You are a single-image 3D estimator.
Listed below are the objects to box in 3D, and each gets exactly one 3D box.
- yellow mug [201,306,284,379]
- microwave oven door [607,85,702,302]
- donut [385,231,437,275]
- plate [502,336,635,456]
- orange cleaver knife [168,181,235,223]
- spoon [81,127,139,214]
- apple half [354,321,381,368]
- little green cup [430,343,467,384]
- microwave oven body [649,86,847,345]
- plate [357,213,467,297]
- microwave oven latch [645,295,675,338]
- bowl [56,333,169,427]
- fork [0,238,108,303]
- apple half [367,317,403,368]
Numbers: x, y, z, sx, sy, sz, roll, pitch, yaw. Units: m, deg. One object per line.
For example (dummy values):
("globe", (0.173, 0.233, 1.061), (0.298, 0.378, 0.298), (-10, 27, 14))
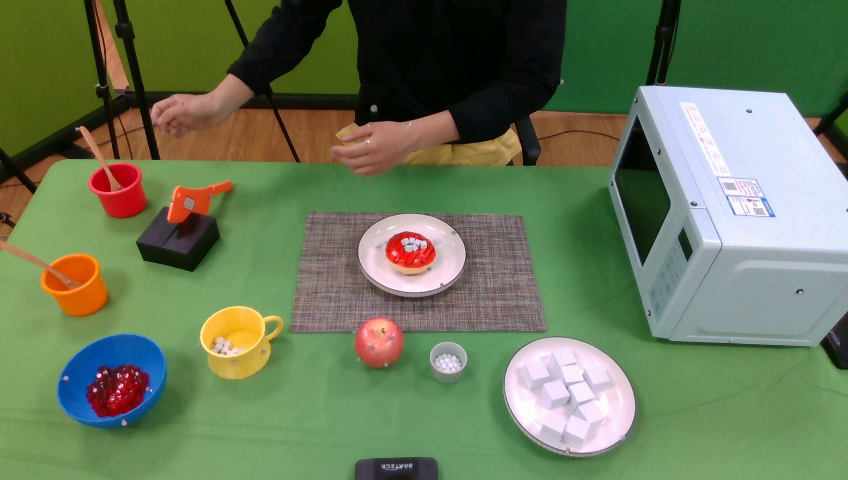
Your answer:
("yellow mug", (-0.291, 0.160, 0.993), (0.131, 0.064, 0.099), (-23, 51, -25))
("microwave oven door", (0.423, -0.094, 1.140), (0.039, 0.245, 0.353), (2, 46, -1))
("donut", (-0.024, 0.024, 1.142), (0.099, 0.048, 0.098), (3, 44, -3))
("plate", (0.225, 0.248, 0.963), (0.208, 0.039, 0.206), (2, 46, -2))
("orange cleaver knife", (-0.436, -0.078, 1.196), (0.012, 0.077, 0.211), (15, 15, 10))
("spoon", (-0.625, -0.139, 1.202), (0.041, 0.021, 0.194), (-30, 98, -28))
("apple half", (-0.097, 0.176, 0.985), (0.033, 0.081, 0.080), (-12, 48, -20))
("little green cup", (0.039, 0.203, 0.994), (0.061, 0.039, 0.061), (2, 46, -2))
("microwave oven body", (0.568, -0.053, 1.118), (0.326, 0.261, 0.439), (2, 45, -1))
("plate", (-0.023, 0.032, 1.150), (0.209, 0.038, 0.208), (2, 46, -2))
("microwave oven latch", (0.412, 0.134, 1.061), (0.030, 0.029, 0.078), (3, 45, 0))
("bowl", (-0.456, 0.222, 0.911), (0.151, 0.077, 0.150), (3, 46, -2))
("fork", (-0.633, 0.048, 1.017), (0.208, 0.018, 0.028), (40, 41, -27))
("apple half", (-0.061, 0.167, 0.998), (0.053, 0.075, 0.080), (-11, 44, -20))
